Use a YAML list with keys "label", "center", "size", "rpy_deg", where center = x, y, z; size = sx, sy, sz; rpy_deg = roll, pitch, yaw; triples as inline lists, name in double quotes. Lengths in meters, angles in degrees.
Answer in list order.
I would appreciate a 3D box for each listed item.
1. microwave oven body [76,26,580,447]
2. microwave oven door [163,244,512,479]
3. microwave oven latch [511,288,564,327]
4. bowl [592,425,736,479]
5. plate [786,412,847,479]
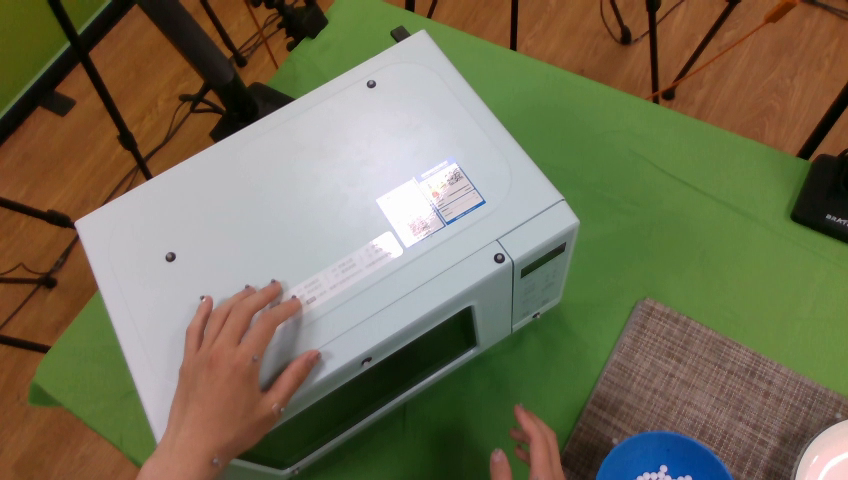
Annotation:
- label: "microwave oven body"
  center: [-0.099, 0.018, 0.722]
  size: [0.442, 0.262, 0.323]
  rpy_deg: [-32, 66, -7]
- label: "microwave oven door"
  center: [-0.061, 0.147, 0.653]
  size: [0.356, 0.246, 0.039]
  rpy_deg: [-31, 65, -7]
- label: "microwave oven latch"
  center: [0.140, 0.078, 0.772]
  size: [0.079, 0.030, 0.030]
  rpy_deg: [-30, 66, -6]
- label: "bowl"
  center: [0.254, 0.283, 0.657]
  size: [0.151, 0.077, 0.150]
  rpy_deg: [-3, 65, 6]
- label: "plate"
  center: [0.494, 0.289, 0.646]
  size: [0.207, 0.039, 0.206]
  rpy_deg: [-3, 65, 6]
